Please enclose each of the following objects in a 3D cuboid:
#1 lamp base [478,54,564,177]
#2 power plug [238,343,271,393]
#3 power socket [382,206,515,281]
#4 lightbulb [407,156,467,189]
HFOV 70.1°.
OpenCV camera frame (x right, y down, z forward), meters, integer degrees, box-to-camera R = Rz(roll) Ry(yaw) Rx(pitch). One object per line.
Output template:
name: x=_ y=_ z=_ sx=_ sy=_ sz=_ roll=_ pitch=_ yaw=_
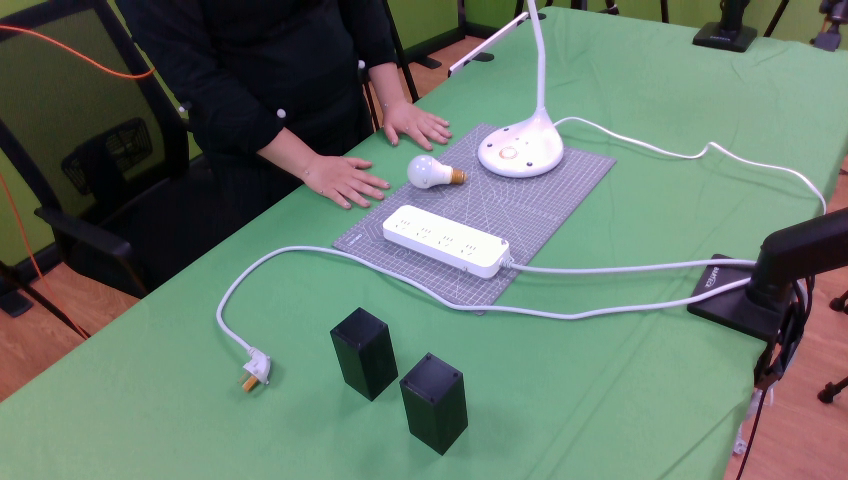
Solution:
lamp base: x=0.180 y=-0.232 z=1.090 sx=0.159 sy=0.181 sz=0.180 roll=21 pitch=45 yaw=30
power plug: x=-0.229 y=0.172 z=0.801 sx=0.072 sy=0.035 sz=0.053 roll=8 pitch=51 yaw=51
power socket: x=0.032 y=0.002 z=0.950 sx=0.225 sy=0.033 sz=0.072 roll=21 pitch=49 yaw=29
lightbulb: x=0.023 y=-0.117 z=1.080 sx=0.108 sy=0.059 sz=0.059 roll=7 pitch=40 yaw=-7
